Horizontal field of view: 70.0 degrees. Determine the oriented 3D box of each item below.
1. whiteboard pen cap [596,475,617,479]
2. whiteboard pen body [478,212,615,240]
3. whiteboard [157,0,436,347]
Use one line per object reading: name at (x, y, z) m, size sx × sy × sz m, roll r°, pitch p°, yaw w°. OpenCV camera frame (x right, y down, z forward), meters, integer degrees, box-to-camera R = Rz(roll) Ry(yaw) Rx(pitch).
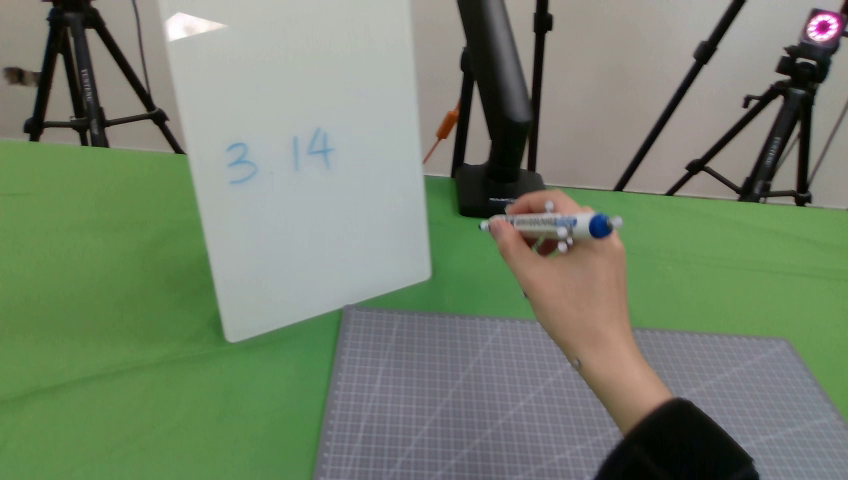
whiteboard pen cap at (0.125, 0.181, 0.434) m, size 0.033 × 0.018 × 0.018 m, roll -6°, pitch 36°, yaw -24°
whiteboard pen body at (0.074, -0.010, 0.407) m, size 0.017 × 0.017 × 0.140 m, roll -11°, pitch 6°, yaw -25°
whiteboard at (-0.128, -0.091, 0.588) m, size 0.218 × 0.307 × 0.142 m, roll -16°, pitch 21°, yaw -30°
